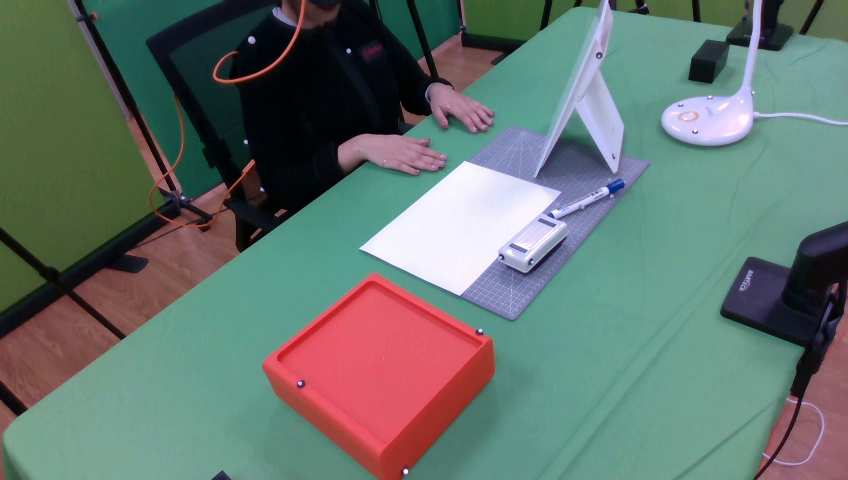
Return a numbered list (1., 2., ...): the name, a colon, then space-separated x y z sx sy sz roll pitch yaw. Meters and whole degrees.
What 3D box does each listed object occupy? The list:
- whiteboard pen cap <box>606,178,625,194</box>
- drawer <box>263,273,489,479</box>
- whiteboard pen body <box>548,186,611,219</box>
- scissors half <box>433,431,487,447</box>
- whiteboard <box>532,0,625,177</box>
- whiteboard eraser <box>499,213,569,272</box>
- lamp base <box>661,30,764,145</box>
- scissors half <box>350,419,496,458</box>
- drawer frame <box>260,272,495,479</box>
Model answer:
1. whiteboard pen cap: 0.320 -0.090 1.016 0.033 0.018 0.018 -27 43 -13
2. drawer: -0.057 0.159 0.759 0.210 0.073 0.195 27 51 34
3. whiteboard pen body: 0.267 -0.066 1.004 0.141 0.017 0.017 -25 43 -13
4. scissors half: 0.000 0.234 0.706 0.176 0.040 0.012 12 26 -25
5. whiteboard: 0.320 -0.259 1.050 0.144 0.306 0.217 21 45 5
6. whiteboard eraser: 0.168 0.006 0.923 0.055 0.042 0.113 29 53 34
7. lamp base: 0.535 -0.287 1.096 0.179 0.181 0.159 -10 40 -4
8. scissors half: 0.002 0.224 0.700 0.176 0.040 0.012 -5 38 -17
9. drawer frame: -0.055 0.159 0.758 0.212 0.083 0.202 26 50 33
